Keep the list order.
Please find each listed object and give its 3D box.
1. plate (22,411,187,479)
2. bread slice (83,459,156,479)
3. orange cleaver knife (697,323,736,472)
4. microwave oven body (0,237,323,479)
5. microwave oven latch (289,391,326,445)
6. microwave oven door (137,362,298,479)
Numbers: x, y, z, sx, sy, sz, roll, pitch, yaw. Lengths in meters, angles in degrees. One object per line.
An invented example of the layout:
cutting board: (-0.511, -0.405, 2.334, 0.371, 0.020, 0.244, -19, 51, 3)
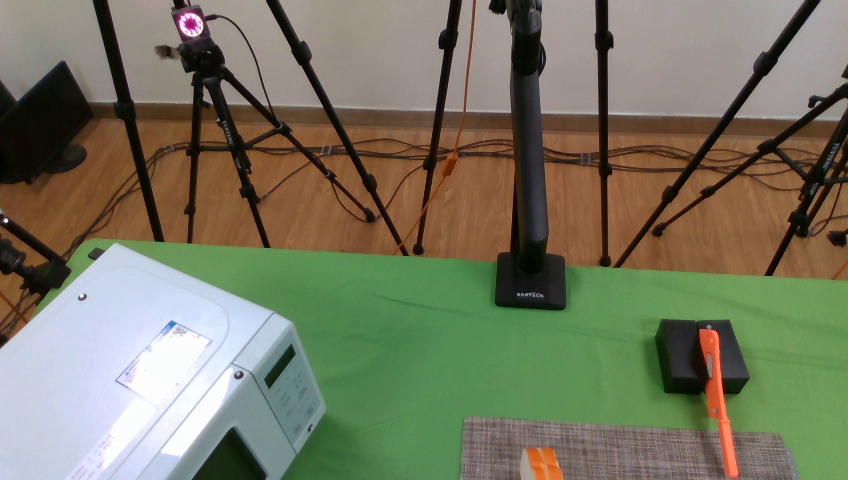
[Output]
plate: (-0.409, 0.324, 0.778, 0.208, 0.039, 0.205, 0, 48, 0)
bread slice: (-0.407, 0.349, 0.766, 0.135, 0.018, 0.106, -12, 48, -20)
orange cleaver knife: (0.411, 0.217, 0.860, 0.012, 0.078, 0.210, -2, 70, 6)
microwave oven body: (-0.392, 0.266, 0.756, 0.324, 0.262, 0.439, 20, 55, 19)
microwave oven latch: (-0.173, 0.253, 0.878, 0.030, 0.030, 0.079, 21, 55, 20)
microwave oven door: (-0.283, 0.337, 0.680, 0.039, 0.246, 0.354, 19, 54, 20)
